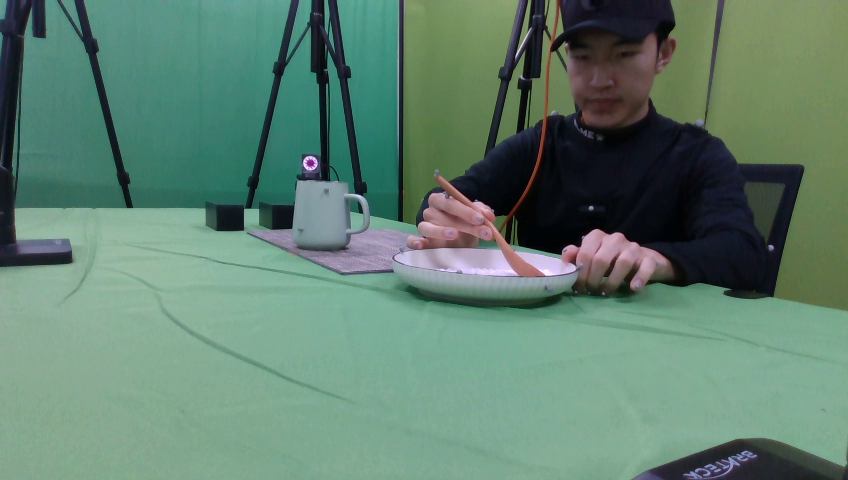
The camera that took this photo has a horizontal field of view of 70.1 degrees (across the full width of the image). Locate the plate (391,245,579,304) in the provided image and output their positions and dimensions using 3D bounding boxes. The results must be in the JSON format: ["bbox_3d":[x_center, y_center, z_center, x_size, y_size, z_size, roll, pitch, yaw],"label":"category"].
[{"bbox_3d":[0.066,0.038,0.683,0.209,0.038,0.209,2,7,0],"label":"plate"}]

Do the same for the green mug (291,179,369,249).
[{"bbox_3d":[-0.144,-0.040,0.944,0.125,0.105,0.093,4,7,16],"label":"green mug"}]

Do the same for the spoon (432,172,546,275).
[{"bbox_3d":[0.075,-0.018,0.723,0.022,0.193,0.041,-36,-22,-12],"label":"spoon"}]
